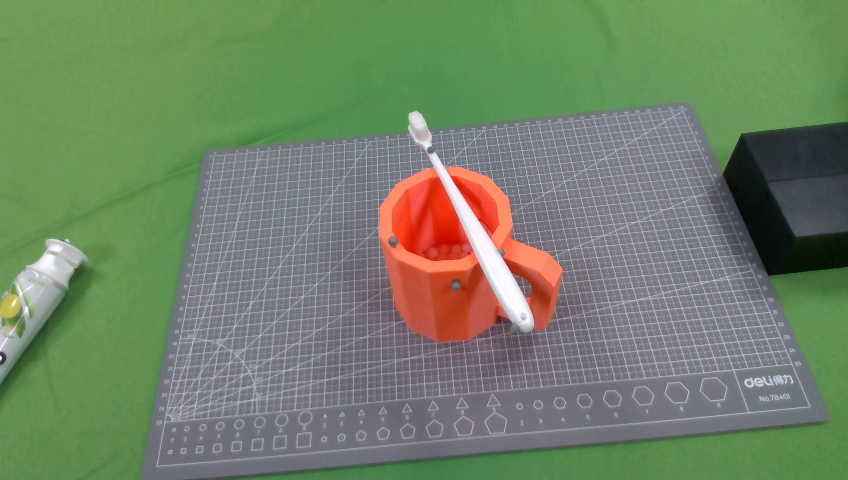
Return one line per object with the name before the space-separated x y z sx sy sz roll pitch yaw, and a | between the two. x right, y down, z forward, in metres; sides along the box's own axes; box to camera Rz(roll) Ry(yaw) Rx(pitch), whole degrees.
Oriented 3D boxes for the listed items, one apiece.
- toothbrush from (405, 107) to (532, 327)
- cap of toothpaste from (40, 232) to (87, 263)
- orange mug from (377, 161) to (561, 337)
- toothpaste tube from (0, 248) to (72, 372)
toothbrush | 0.023 -0.022 0.378 0.014 0.017 0.180 -18 56 -11
cap of toothpaste | -0.291 0.007 0.487 0.037 0.038 0.011 8 55 10
orange mug | 0.031 0.014 0.417 0.125 0.102 0.083 20 59 22
toothpaste tube | -0.323 0.073 0.451 0.055 0.035 0.164 13 61 21
